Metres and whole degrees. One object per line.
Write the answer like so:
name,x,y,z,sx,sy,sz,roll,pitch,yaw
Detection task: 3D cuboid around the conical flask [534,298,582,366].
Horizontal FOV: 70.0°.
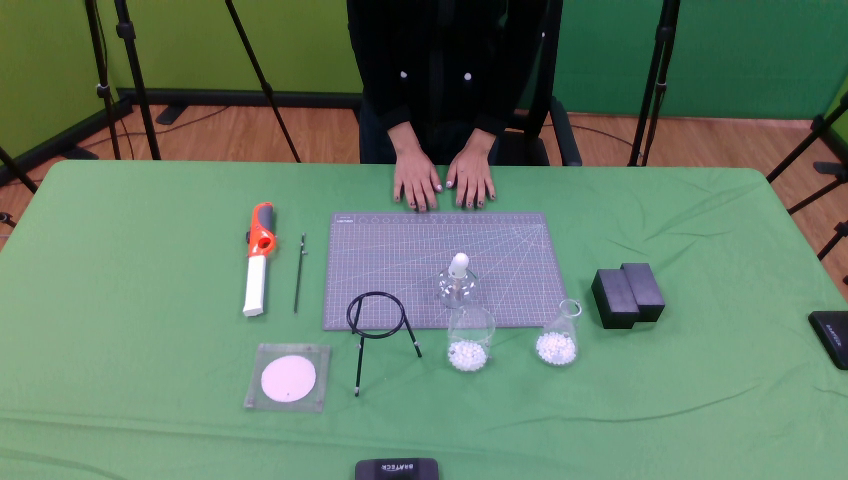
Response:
conical flask,0.229,0.149,1.005,0.075,0.122,0.075,2,46,-2

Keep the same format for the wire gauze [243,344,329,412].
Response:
wire gauze,-0.221,0.219,0.981,0.125,0.011,0.120,2,45,0

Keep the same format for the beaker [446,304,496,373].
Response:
beaker,0.072,0.166,0.992,0.084,0.101,0.073,-21,51,-22

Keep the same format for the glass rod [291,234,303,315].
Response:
glass rod,-0.237,0.060,1.134,0.008,0.008,0.198,-1,46,-4

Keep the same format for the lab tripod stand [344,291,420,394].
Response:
lab tripod stand,-0.075,0.155,0.967,0.148,0.132,0.147,3,44,-3

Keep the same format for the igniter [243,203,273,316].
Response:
igniter,-0.315,0.027,1.145,0.057,0.025,0.274,-10,47,0

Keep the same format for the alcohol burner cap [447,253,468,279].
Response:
alcohol burner cap,0.060,0.043,1.046,0.034,0.048,0.033,5,50,-6

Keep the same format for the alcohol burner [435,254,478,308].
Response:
alcohol burner,0.058,0.066,1.073,0.078,0.120,0.077,1,48,-1
